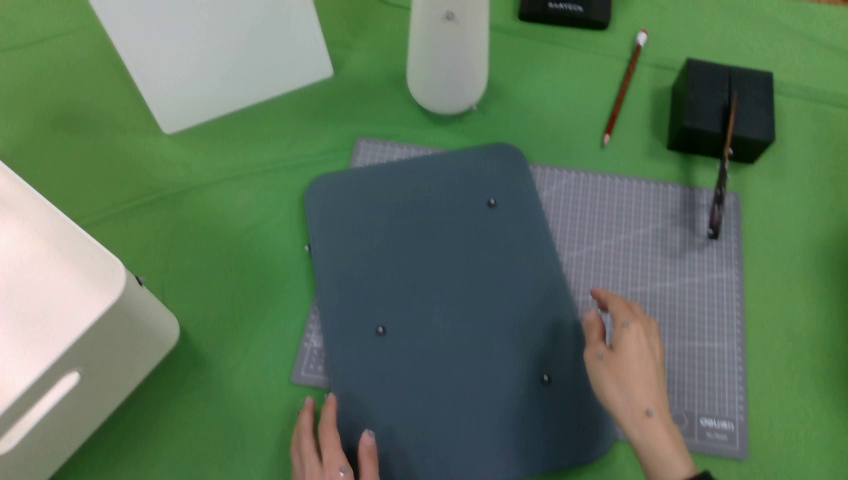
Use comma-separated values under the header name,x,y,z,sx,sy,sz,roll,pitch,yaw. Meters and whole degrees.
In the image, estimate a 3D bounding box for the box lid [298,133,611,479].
name,x,y,z,sx,sy,sz,roll,pitch,yaw
box lid,0.020,0.057,0.636,0.263,0.015,0.368,-11,68,-6

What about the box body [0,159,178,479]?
name,x,y,z,sx,sy,sz,roll,pitch,yaw
box body,-0.447,0.048,0.553,0.362,0.161,0.253,34,71,13

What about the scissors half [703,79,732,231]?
name,x,y,z,sx,sy,sz,roll,pitch,yaw
scissors half,0.327,-0.095,0.669,0.012,0.040,0.175,8,85,29

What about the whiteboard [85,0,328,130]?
name,x,y,z,sx,sy,sz,roll,pitch,yaw
whiteboard,-0.265,-0.318,0.669,0.217,0.308,0.142,-23,49,-10

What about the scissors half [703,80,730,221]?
name,x,y,z,sx,sy,sz,roll,pitch,yaw
scissors half,0.319,-0.101,0.651,0.013,0.040,0.174,9,68,24

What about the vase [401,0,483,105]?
name,x,y,z,sx,sy,sz,roll,pitch,yaw
vase,0.020,-0.239,0.663,0.098,0.201,0.097,0,65,1

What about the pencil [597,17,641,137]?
name,x,y,z,sx,sy,sz,roll,pitch,yaw
pencil,0.242,-0.205,0.753,0.012,0.012,0.193,20,69,9

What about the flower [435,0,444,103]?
name,x,y,z,sx,sy,sz,roll,pitch,yaw
flower,0.015,-0.286,0.593,0.044,0.365,0.038,3,49,5
